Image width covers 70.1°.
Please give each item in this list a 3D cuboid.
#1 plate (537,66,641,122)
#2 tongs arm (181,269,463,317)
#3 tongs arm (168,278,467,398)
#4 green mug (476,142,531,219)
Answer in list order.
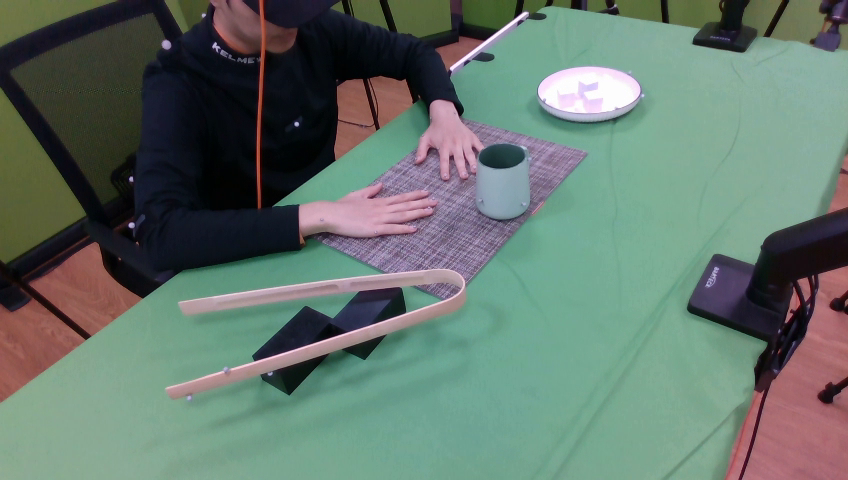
[{"bbox_3d":[0.338,-0.299,1.255,0.209,0.038,0.208,-4,41,4],"label":"plate"},{"bbox_3d":[-0.139,0.075,0.827,0.388,0.028,0.028,-7,33,1],"label":"tongs arm"},{"bbox_3d":[-0.124,0.121,0.767,0.386,0.026,0.050,-15,37,-9],"label":"tongs arm"},{"bbox_3d":[0.140,-0.106,1.002,0.092,0.105,0.125,21,48,30],"label":"green mug"}]
